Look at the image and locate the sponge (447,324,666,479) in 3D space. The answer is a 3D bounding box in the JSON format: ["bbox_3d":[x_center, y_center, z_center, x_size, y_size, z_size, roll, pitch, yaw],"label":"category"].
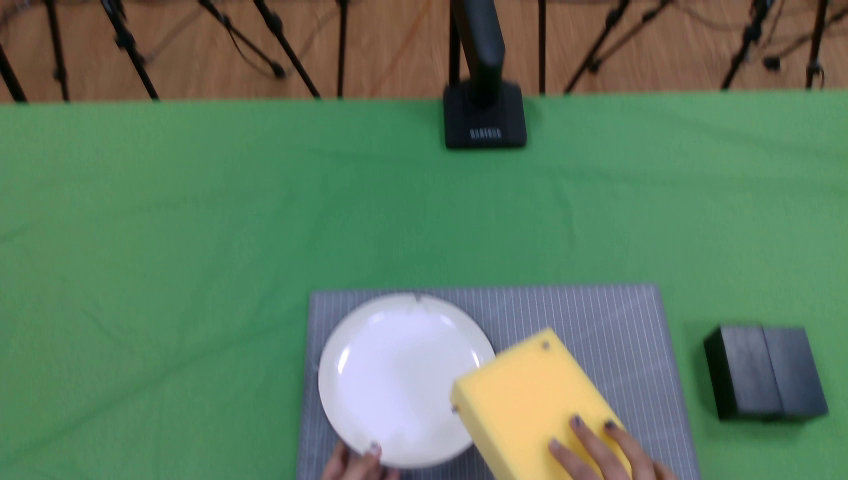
[{"bbox_3d":[0.127,0.198,0.582,0.118,0.061,0.205,-25,62,-20],"label":"sponge"}]

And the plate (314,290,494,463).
[{"bbox_3d":[-0.020,0.155,0.699,0.209,0.038,0.207,2,55,-3],"label":"plate"}]
